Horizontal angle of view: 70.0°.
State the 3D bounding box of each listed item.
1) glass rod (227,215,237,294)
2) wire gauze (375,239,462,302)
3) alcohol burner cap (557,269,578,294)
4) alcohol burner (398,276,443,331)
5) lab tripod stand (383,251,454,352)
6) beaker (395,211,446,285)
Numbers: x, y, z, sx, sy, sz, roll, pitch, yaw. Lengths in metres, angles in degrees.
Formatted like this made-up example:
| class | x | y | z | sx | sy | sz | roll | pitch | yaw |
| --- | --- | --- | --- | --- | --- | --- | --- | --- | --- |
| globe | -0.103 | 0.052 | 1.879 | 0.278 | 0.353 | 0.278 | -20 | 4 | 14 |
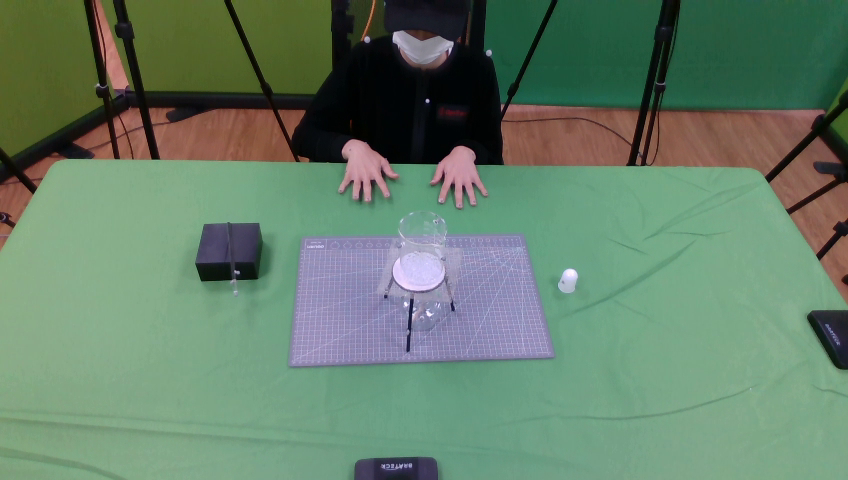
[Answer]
| class | x | y | z | sx | sy | sz | roll | pitch | yaw |
| --- | --- | --- | --- | --- | --- | --- | --- | --- | --- |
| glass rod | -0.347 | 0.022 | 1.092 | 0.008 | 0.008 | 0.198 | -9 | 47 | -13 |
| wire gauze | -0.006 | 0.049 | 0.977 | 0.121 | 0.011 | 0.124 | 10 | 44 | 5 |
| alcohol burner cap | 0.270 | 0.075 | 1.135 | 0.034 | 0.048 | 0.033 | 3 | 46 | -2 |
| alcohol burner | -0.005 | 0.101 | 1.033 | 0.078 | 0.119 | 0.077 | 3 | 48 | -3 |
| lab tripod stand | -0.016 | 0.094 | 1.025 | 0.148 | 0.132 | 0.147 | 1 | 46 | -1 |
| beaker | -0.002 | 0.017 | 0.941 | 0.083 | 0.101 | 0.074 | 36 | 54 | 29 |
